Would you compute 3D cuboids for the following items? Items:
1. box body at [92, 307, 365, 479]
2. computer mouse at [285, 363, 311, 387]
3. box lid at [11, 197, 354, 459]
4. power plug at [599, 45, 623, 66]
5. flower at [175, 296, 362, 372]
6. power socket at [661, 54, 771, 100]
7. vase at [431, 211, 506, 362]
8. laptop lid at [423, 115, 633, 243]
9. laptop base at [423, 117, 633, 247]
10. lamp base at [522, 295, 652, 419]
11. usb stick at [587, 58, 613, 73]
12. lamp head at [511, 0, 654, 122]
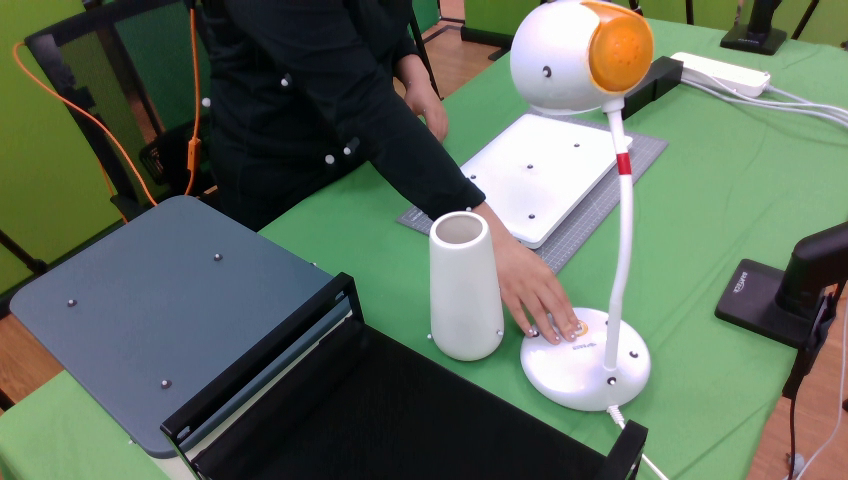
[{"bbox_3d":[-0.281,0.128,0.759,0.361,0.161,0.255,24,49,32],"label":"box body"},{"bbox_3d":[-0.161,0.158,0.791,0.116,0.041,0.063,26,46,23],"label":"computer mouse"},{"bbox_3d":[-0.288,0.072,0.710,0.368,0.015,0.264,25,50,32],"label":"box lid"},{"bbox_3d":[0.438,-0.423,1.411,0.053,0.035,0.072,-18,69,-48],"label":"power plug"},{"bbox_3d":[-0.233,0.115,0.833,0.359,0.038,0.044,10,87,33],"label":"flower"},{"bbox_3d":[0.615,-0.348,1.285,0.072,0.033,0.225,-36,48,-28],"label":"power socket"},{"bbox_3d":[0.054,0.062,0.757,0.098,0.201,0.097,-3,40,3],"label":"vase"},{"bbox_3d":[0.191,-0.127,1.081,0.239,0.013,0.358,23,48,34],"label":"laptop lid"},{"bbox_3d":[0.194,-0.118,1.086,0.233,0.023,0.355,20,47,34],"label":"laptop base"},{"bbox_3d":[0.201,0.095,0.710,0.161,0.181,0.178,-16,43,-9],"label":"lamp base"},{"bbox_3d":[0.401,-0.398,1.381,0.059,0.027,0.021,0,48,21],"label":"usb stick"},{"bbox_3d":[0.155,-0.168,0.565,0.113,0.113,0.122,-18,23,-12],"label":"lamp head"}]
